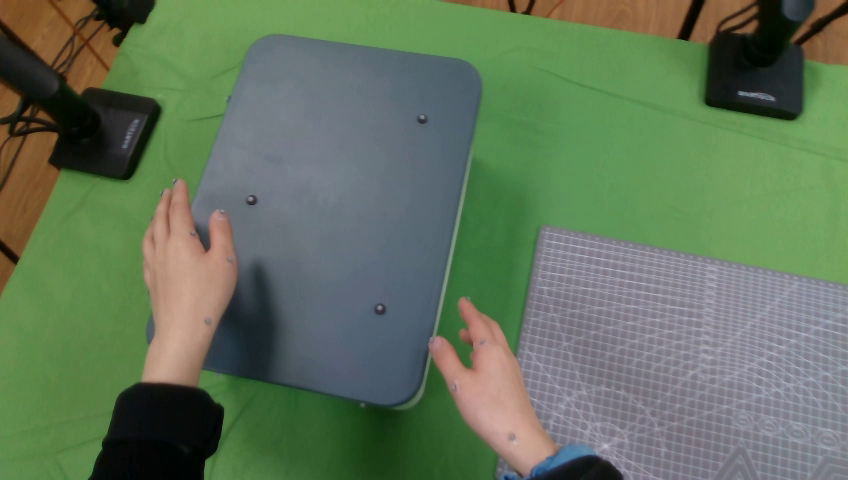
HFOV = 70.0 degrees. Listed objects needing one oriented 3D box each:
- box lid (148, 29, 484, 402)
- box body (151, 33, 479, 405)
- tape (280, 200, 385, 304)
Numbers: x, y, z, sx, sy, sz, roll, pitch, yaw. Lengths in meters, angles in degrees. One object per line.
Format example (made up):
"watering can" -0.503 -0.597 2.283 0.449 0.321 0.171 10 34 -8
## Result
"box lid" -0.096 -0.046 0.602 0.263 0.015 0.369 10 72 6
"box body" -0.094 -0.018 0.671 0.254 0.161 0.362 10 71 6
"tape" -0.106 0.015 0.711 0.117 0.053 0.116 -2 67 4
